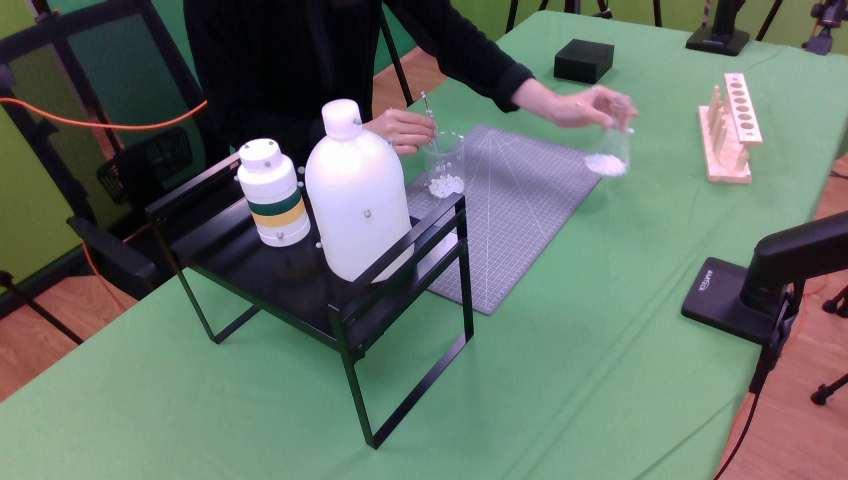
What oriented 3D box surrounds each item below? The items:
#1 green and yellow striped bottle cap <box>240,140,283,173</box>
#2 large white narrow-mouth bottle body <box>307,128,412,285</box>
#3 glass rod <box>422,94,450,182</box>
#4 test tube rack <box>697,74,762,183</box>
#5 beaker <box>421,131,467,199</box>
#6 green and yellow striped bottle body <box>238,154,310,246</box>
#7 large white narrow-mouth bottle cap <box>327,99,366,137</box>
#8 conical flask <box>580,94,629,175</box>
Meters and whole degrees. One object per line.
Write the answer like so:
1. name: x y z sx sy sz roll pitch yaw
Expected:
1. green and yellow striped bottle cap: -0.183 -0.094 0.679 0.045 0.020 0.045 -4 38 4
2. large white narrow-mouth bottle body: -0.070 -0.051 0.638 0.102 0.195 0.101 -3 40 3
3. glass rod: 0.022 -0.165 1.008 0.008 0.201 0.008 -8 52 10
4. test tube rack: 0.547 -0.208 1.094 0.066 0.085 0.242 5 42 15
5. beaker: 0.040 -0.130 1.060 0.084 0.101 0.073 -24 44 -19
6. green and yellow striped bottle body: -0.178 -0.056 0.714 0.063 0.120 0.063 -4 40 4
7. large white narrow-mouth bottle cap: -0.075 -0.118 0.582 0.038 0.024 0.037 -3 40 3
8. conical flask: 0.301 -0.173 0.982 0.075 0.122 0.075 2 38 -1
